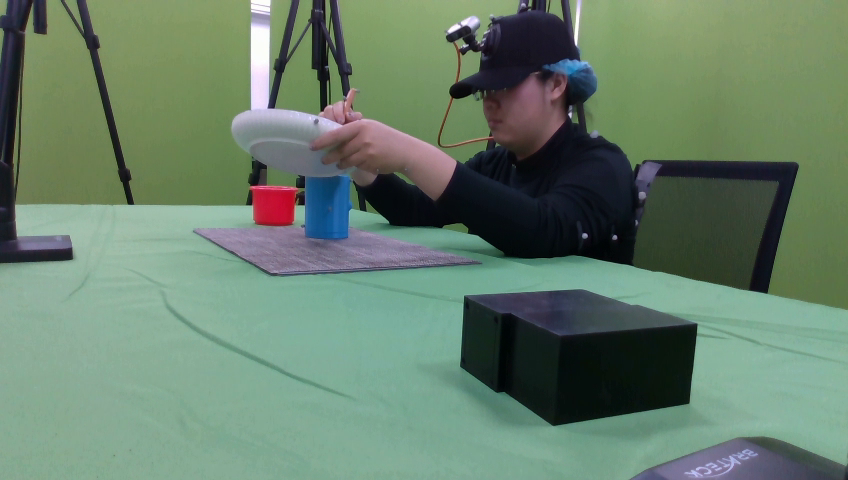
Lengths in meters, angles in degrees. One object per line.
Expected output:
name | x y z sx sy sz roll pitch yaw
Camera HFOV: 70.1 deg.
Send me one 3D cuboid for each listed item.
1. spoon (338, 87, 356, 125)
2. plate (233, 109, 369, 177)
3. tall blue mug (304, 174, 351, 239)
spoon | -0.154 -0.203 1.074 0.041 0.193 0.022 3 -38 19
plate | -0.192 -0.140 0.939 0.208 0.039 0.208 6 -13 2
tall blue mug | -0.178 -0.062 1.062 0.078 0.108 0.106 -5 11 -38
